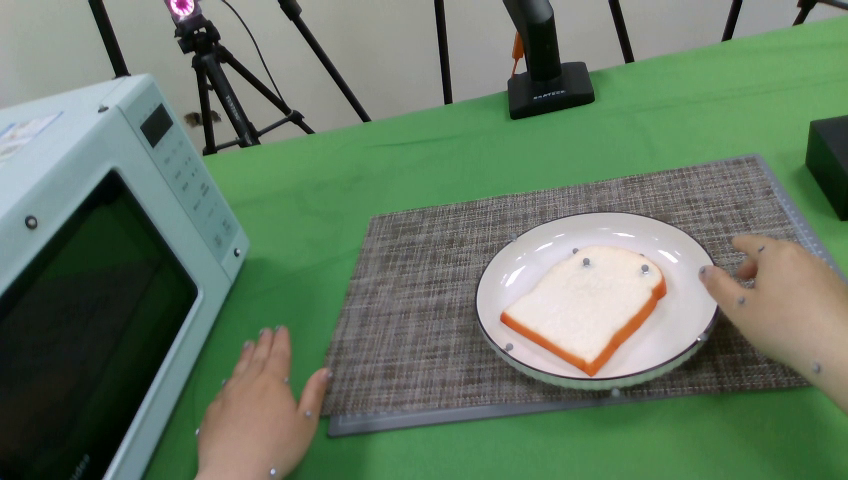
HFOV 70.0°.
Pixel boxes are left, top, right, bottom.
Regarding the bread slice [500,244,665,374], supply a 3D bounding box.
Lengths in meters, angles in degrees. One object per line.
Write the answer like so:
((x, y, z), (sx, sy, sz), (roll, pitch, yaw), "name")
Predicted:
((0.147, 0.051, 0.545), (0.131, 0.019, 0.104), (-38, 41, -24), "bread slice")

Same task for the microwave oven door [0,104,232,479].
((-0.284, 0.074, 0.509), (0.039, 0.246, 0.352), (-10, 38, 13), "microwave oven door")

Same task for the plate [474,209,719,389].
((0.149, 0.050, 0.542), (0.209, 0.038, 0.207), (-12, 37, 10), "plate")

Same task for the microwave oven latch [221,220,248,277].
((-0.239, 0.012, 0.738), (0.030, 0.030, 0.078), (-8, 39, 13), "microwave oven latch")

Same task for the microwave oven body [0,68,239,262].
((-0.421, 0.075, 0.577), (0.325, 0.263, 0.437), (-9, 39, 12), "microwave oven body")
